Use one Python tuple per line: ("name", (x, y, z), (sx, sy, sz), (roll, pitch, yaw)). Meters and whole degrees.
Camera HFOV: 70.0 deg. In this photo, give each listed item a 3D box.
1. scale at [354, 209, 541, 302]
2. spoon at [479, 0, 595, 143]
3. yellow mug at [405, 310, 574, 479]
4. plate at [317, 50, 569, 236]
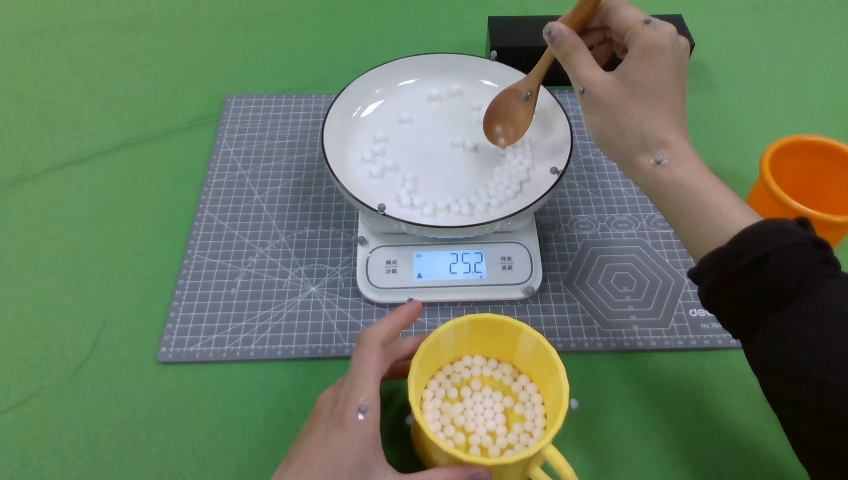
("scale", (0.016, -0.040, 0.522), (0.149, 0.032, 0.199), (-2, 54, -1))
("spoon", (0.092, -0.138, 0.444), (0.021, 0.194, 0.041), (-28, 76, -33))
("yellow mug", (0.048, 0.114, 0.393), (0.100, 0.064, 0.129), (-36, 63, -22))
("plate", (0.015, -0.083, 0.513), (0.209, 0.038, 0.207), (1, 54, -1))
